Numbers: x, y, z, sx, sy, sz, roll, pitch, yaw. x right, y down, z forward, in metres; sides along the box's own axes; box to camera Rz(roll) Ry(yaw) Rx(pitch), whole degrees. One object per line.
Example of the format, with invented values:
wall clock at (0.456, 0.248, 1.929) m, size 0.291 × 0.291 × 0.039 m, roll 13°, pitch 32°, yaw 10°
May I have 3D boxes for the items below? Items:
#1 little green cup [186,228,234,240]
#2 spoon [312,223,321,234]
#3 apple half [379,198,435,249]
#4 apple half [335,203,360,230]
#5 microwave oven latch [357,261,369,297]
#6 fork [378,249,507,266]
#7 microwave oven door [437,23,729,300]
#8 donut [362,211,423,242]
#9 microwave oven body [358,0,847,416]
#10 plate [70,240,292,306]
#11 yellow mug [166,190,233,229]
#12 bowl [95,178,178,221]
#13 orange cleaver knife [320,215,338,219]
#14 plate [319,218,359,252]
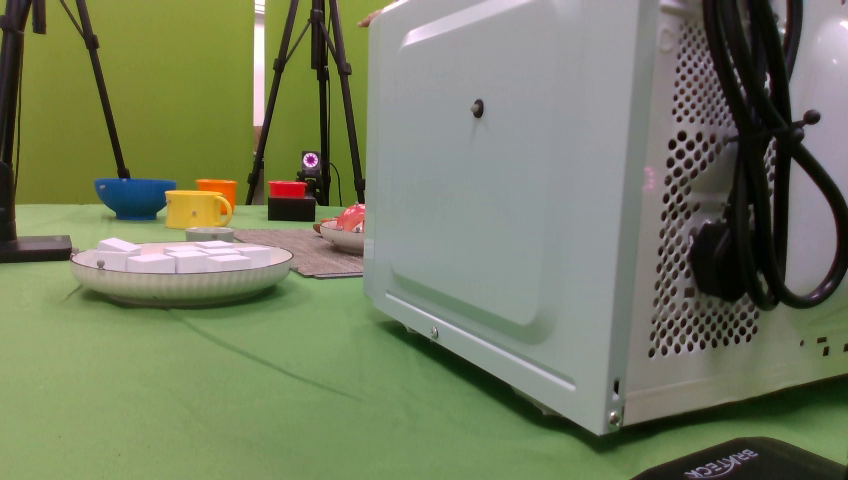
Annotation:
little green cup at (-0.284, 0.005, 0.805) m, size 0.061 × 0.038 × 0.061 m, roll 2°, pitch 8°, yaw 0°
spoon at (-0.112, -0.022, 1.095) m, size 0.195 × 0.021 × 0.041 m, roll -4°, pitch -16°, yaw -38°
apple half at (-0.020, -0.030, 0.891) m, size 0.081 × 0.053 × 0.074 m, roll -2°, pitch 49°, yaw -26°
apple half at (-0.116, -0.038, 0.959) m, size 0.081 × 0.033 × 0.081 m, roll -38°, pitch 8°, yaw 7°
microwave oven latch at (-0.019, 0.033, 0.530) m, size 0.079 × 0.029 × 0.030 m, roll -1°, pitch 7°, yaw -27°
fork at (0.032, 0.022, 0.819) m, size 0.208 × 0.018 × 0.028 m, roll -5°, pitch 4°, yaw -33°
microwave oven door at (0.181, -0.072, 0.621) m, size 0.358 × 0.243 × 0.039 m, roll -2°, pitch 8°, yaw -29°
donut at (-0.050, -0.020, 0.958) m, size 0.099 × 0.048 × 0.099 m, roll 3°, pitch 6°, yaw 0°
microwave oven body at (0.211, -0.047, 0.474) m, size 0.444 × 0.260 × 0.324 m, roll -1°, pitch 7°, yaw -28°
plate at (-0.242, 0.032, 0.618) m, size 0.208 × 0.039 × 0.207 m, roll 2°, pitch 8°, yaw 0°
yellow mug at (-0.415, -0.057, 1.132) m, size 0.130 × 0.064 × 0.100 m, roll 6°, pitch 8°, yaw 16°
bowl at (-0.576, -0.081, 1.217) m, size 0.151 × 0.077 × 0.151 m, roll 3°, pitch 8°, yaw 0°
orange cleaver knife at (-0.142, -0.057, 1.394) m, size 0.077 × 0.012 × 0.212 m, roll 3°, pitch 7°, yaw 44°
plate at (-0.059, -0.007, 0.939) m, size 0.209 × 0.038 × 0.209 m, roll 3°, pitch 8°, yaw 0°
